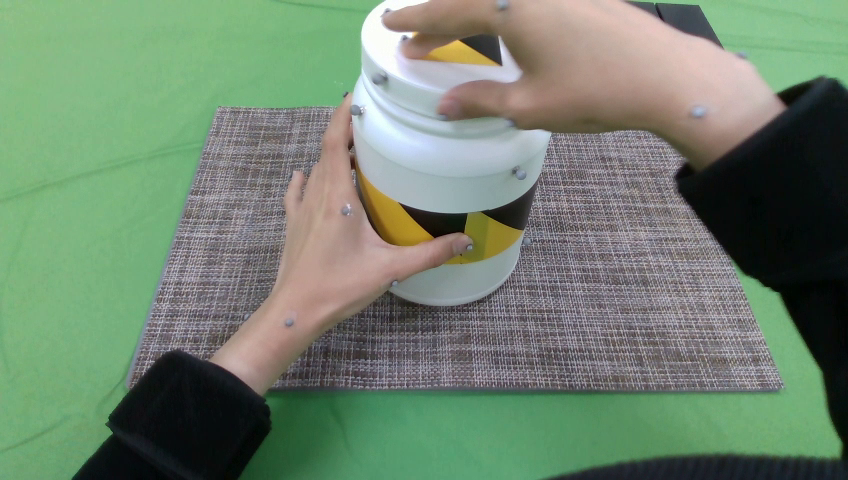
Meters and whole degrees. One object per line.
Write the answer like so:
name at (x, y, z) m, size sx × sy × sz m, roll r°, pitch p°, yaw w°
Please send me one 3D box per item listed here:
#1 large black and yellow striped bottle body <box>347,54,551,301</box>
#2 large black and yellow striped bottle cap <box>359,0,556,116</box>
large black and yellow striped bottle body at (0.014, -0.059, 0.421) m, size 0.131 × 0.185 × 0.129 m, roll 2°, pitch 50°, yaw -2°
large black and yellow striped bottle cap at (0.019, -0.115, 0.355) m, size 0.115 × 0.019 × 0.114 m, roll 2°, pitch 50°, yaw -2°
